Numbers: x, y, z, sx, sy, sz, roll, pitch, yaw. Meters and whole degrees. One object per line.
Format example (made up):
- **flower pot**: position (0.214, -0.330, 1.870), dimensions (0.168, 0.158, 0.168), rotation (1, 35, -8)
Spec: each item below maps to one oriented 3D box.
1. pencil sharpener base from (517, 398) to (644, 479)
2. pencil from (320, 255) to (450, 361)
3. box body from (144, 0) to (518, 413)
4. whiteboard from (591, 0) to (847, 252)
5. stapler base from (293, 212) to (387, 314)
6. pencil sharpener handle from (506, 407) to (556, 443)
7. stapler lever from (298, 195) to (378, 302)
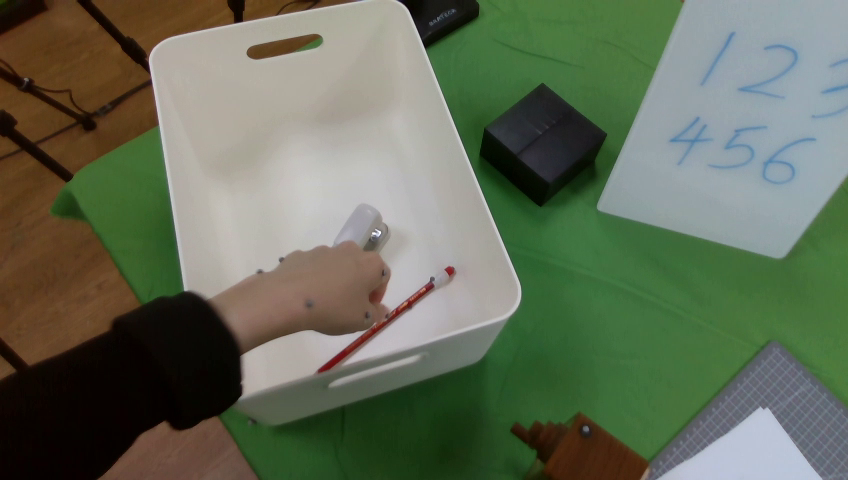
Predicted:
- **pencil sharpener base**: position (0.130, 0.190, 0.529), dimensions (0.076, 0.108, 0.061), rotation (35, 68, 14)
- **pencil**: position (-0.045, 0.077, 0.621), dimensions (0.194, 0.012, 0.012), rotation (-39, 72, -19)
- **box body**: position (-0.096, -0.039, 0.595), dimensions (0.254, 0.161, 0.361), rotation (-16, 66, -10)
- **whiteboard**: position (0.334, -0.166, 0.635), dimensions (0.217, 0.308, 0.143), rotation (16, 45, 5)
- **stapler base**: position (-0.087, 0.014, 0.641), dimensions (0.041, 0.024, 0.130), rotation (28, 68, 12)
- **pencil sharpener handle**: position (0.090, 0.156, 0.530), dimensions (0.030, 0.068, 0.036), rotation (35, 70, 14)
- **stapler lever**: position (-0.087, 0.005, 0.617), dimensions (0.026, 0.040, 0.117), rotation (28, 69, 13)
